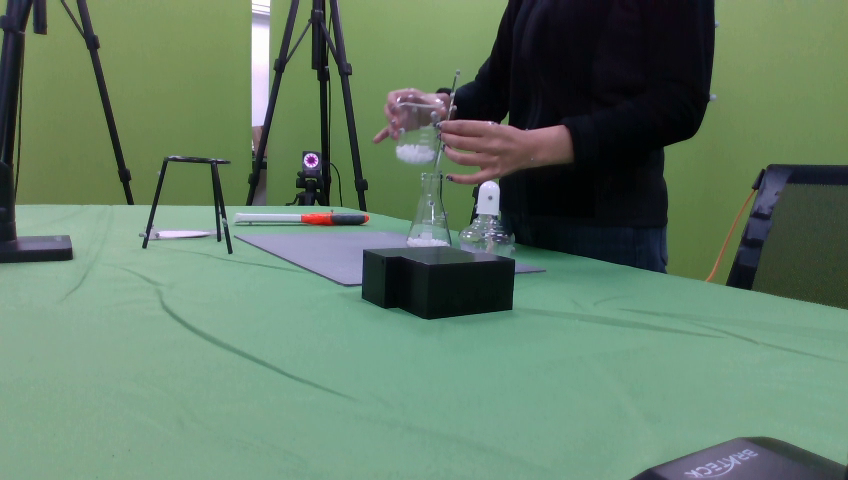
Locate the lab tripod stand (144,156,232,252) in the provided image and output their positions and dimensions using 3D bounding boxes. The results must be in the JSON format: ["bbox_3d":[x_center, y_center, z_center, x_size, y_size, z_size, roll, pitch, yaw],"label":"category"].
[{"bbox_3d":[-0.325,-0.054,0.881,0.148,0.131,0.148,4,7,0],"label":"lab tripod stand"}]

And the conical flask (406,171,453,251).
[{"bbox_3d":[0.011,-0.046,0.948,0.075,0.122,0.075,2,7,0],"label":"conical flask"}]

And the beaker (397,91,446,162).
[{"bbox_3d":[-0.009,-0.184,0.987,0.084,0.100,0.073,-12,30,-32],"label":"beaker"}]

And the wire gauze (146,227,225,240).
[{"bbox_3d":[-0.400,-0.012,1.019,0.122,0.011,0.124,-1,6,-26],"label":"wire gauze"}]

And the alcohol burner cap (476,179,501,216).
[{"bbox_3d":[0.086,-0.057,0.801,0.034,0.048,0.034,4,3,0],"label":"alcohol burner cap"}]

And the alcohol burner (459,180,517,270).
[{"bbox_3d":[0.086,-0.021,0.805,0.078,0.119,0.078,3,9,0],"label":"alcohol burner"}]

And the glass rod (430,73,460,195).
[{"bbox_3d":[0.030,-0.153,0.901,0.008,0.199,0.008,9,34,-6],"label":"glass rod"}]

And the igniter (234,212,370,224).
[{"bbox_3d":[-0.247,-0.046,1.253,0.278,0.025,0.057,-1,-3,-27],"label":"igniter"}]
